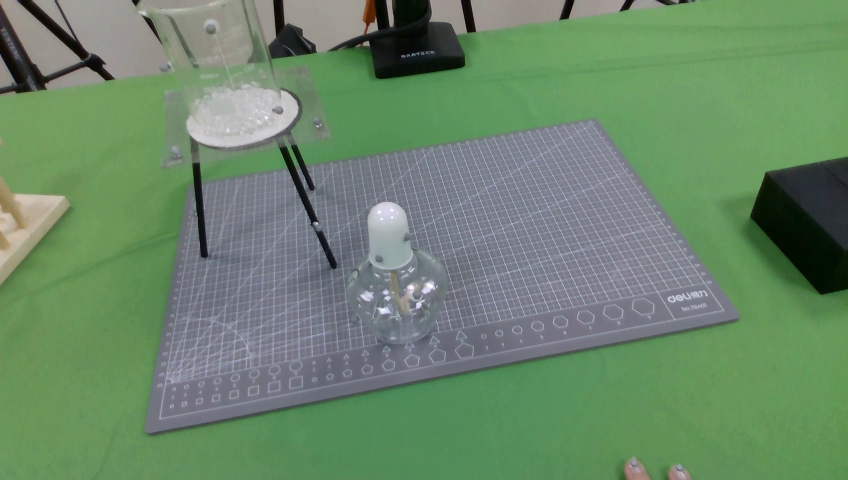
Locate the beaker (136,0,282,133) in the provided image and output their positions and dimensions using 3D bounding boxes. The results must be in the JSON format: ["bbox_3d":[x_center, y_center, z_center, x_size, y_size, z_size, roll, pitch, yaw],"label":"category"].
[{"bbox_3d":[-0.152,-0.136,0.447,0.084,0.101,0.073,-14,44,-8],"label":"beaker"}]

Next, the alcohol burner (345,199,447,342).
[{"bbox_3d":[-0.023,0.020,0.450,0.078,0.120,0.077,-3,41,3],"label":"alcohol burner"}]

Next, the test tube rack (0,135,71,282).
[{"bbox_3d":[-0.423,0.010,0.525,0.066,0.086,0.240,4,44,9],"label":"test tube rack"}]

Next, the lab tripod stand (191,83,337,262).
[{"bbox_3d":[-0.139,-0.055,0.526,0.148,0.133,0.147,-3,45,3],"label":"lab tripod stand"}]

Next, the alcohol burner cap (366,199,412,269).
[{"bbox_3d":[-0.026,-0.006,0.425,0.034,0.048,0.033,-1,40,1],"label":"alcohol burner cap"}]

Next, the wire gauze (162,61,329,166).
[{"bbox_3d":[-0.144,-0.102,0.481,0.125,0.011,0.120,-16,42,-6],"label":"wire gauze"}]
